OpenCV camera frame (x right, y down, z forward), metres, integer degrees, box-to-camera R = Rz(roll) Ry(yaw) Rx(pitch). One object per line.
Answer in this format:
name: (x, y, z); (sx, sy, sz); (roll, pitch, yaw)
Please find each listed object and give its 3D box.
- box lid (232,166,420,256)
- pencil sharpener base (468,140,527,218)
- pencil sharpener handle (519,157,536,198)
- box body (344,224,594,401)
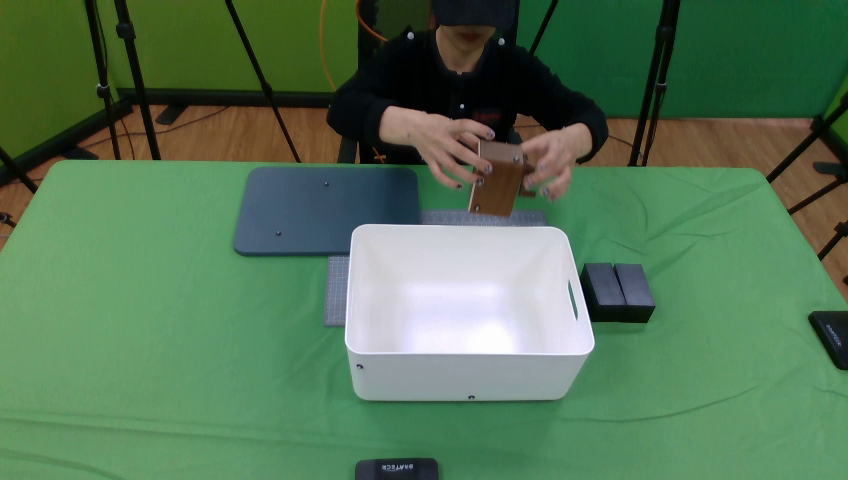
box lid: (-0.191, -0.066, 1.255); (0.372, 0.015, 0.261); (-1, 46, -4)
pencil sharpener base: (0.114, -0.093, 0.950); (0.077, 0.107, 0.061); (8, 40, -1)
pencil sharpener handle: (0.166, -0.096, 0.944); (0.030, 0.068, 0.036); (8, 40, -1)
box body: (0.060, 0.120, 0.988); (0.364, 0.161, 0.252); (1, 47, -4)
